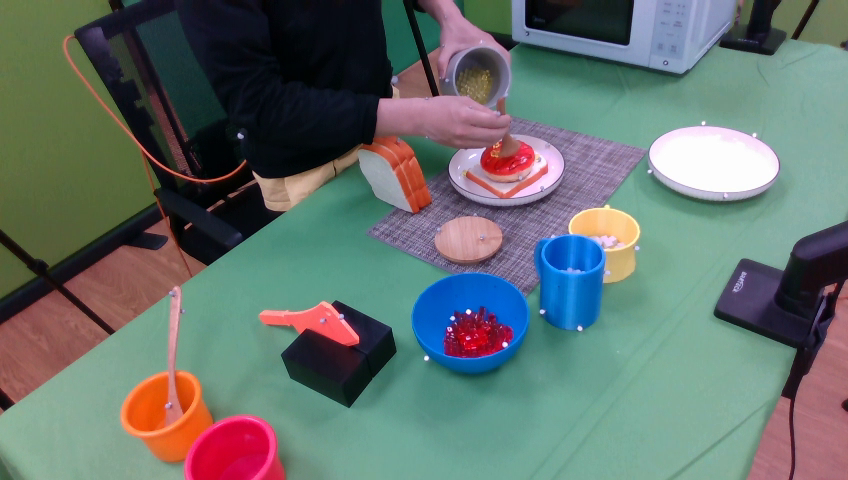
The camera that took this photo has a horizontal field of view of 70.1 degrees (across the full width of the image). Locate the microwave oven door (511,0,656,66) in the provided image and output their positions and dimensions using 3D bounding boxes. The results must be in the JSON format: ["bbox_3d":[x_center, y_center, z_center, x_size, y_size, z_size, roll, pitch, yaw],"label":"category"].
[{"bbox_3d":[0.351,-0.539,1.348,0.353,0.245,0.039,24,50,31],"label":"microwave oven door"}]

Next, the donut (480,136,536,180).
[{"bbox_3d":[0.145,-0.144,1.056,0.099,0.048,0.098,-6,43,6],"label":"donut"}]

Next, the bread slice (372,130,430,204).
[{"bbox_3d":[-0.042,-0.127,1.038,0.106,0.135,0.018,29,61,33],"label":"bread slice"}]

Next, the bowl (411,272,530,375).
[{"bbox_3d":[0.061,0.120,0.780,0.151,0.077,0.150,-4,40,4],"label":"bowl"}]

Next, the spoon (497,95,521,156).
[{"bbox_3d":[0.125,-0.174,0.935,0.041,0.195,0.021,-25,67,4],"label":"spoon"}]

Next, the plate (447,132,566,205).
[{"bbox_3d":[0.146,-0.124,1.076,0.209,0.038,0.208,-4,41,4],"label":"plate"}]

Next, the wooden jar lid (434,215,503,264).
[{"bbox_3d":[0.070,0.001,0.956,0.108,0.021,0.108,-4,40,4],"label":"wooden jar lid"}]

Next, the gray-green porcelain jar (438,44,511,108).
[{"bbox_3d":[0.086,-0.291,1.081,0.106,0.106,0.126,-15,16,-9],"label":"gray-green porcelain jar"}]

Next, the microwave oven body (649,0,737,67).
[{"bbox_3d":[0.475,-0.602,1.411,0.438,0.261,0.327,23,50,32],"label":"microwave oven body"}]

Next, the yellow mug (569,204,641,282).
[{"bbox_3d":[0.268,-0.005,0.904,0.099,0.064,0.130,7,41,15],"label":"yellow mug"}]

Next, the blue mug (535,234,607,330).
[{"bbox_3d":[0.190,0.048,0.824,0.082,0.106,0.115,-26,44,-20],"label":"blue mug"}]

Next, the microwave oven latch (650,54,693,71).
[{"bbox_3d":[0.531,-0.386,1.301,0.078,0.029,0.030,26,51,33],"label":"microwave oven latch"}]

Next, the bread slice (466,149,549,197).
[{"bbox_3d":[0.156,-0.129,1.084,0.132,0.019,0.104,-34,48,-24],"label":"bread slice"}]

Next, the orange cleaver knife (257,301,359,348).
[{"bbox_3d":[-0.160,0.115,0.813,0.210,0.077,0.012,-9,29,48],"label":"orange cleaver knife"}]

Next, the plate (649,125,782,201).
[{"bbox_3d":[0.493,-0.127,1.036,0.207,0.039,0.206,-4,41,4],"label":"plate"}]

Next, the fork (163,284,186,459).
[{"bbox_3d":[-0.302,0.157,0.733,0.028,0.019,0.207,-3,84,14],"label":"fork"}]
